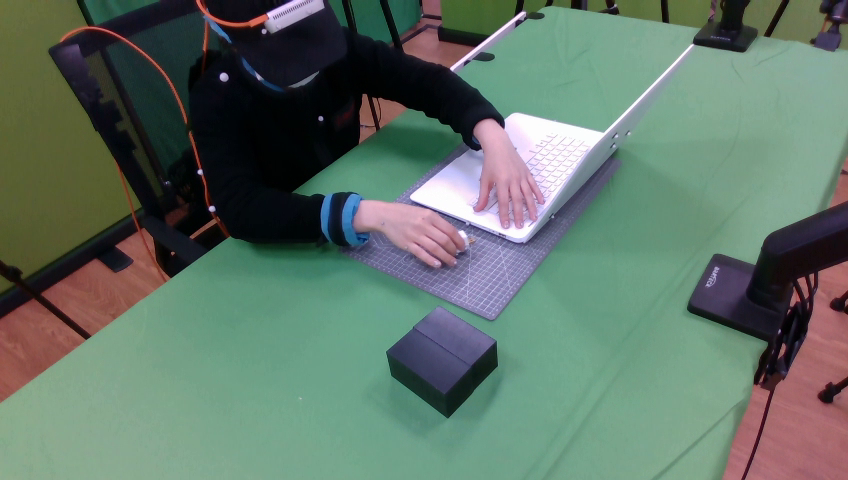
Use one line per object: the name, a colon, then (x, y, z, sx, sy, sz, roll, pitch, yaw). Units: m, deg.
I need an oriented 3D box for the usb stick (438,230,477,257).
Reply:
usb stick: (0.053, 0.004, 0.934, 0.059, 0.027, 0.021, -17, 36, -10)

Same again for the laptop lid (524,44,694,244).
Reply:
laptop lid: (0.290, -0.150, 0.941, 0.013, 0.241, 0.358, 40, 54, 12)

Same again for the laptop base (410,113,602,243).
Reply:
laptop base: (0.171, -0.127, 1.096, 0.233, 0.023, 0.355, 21, 47, 33)
